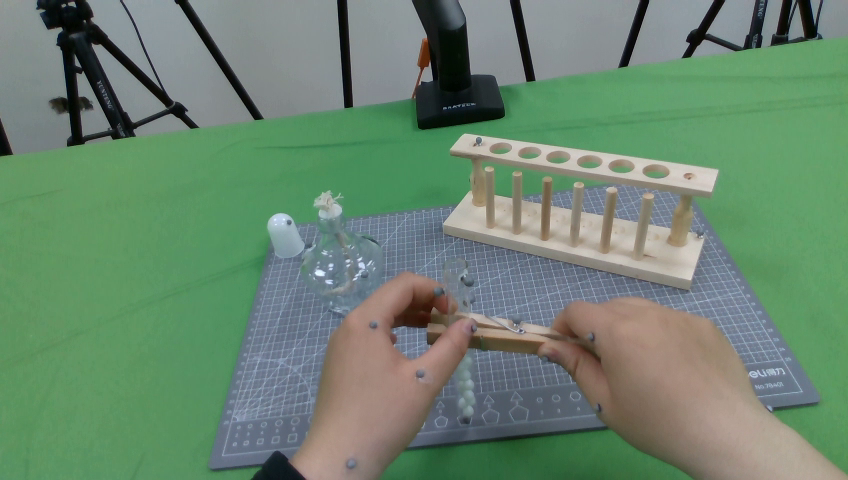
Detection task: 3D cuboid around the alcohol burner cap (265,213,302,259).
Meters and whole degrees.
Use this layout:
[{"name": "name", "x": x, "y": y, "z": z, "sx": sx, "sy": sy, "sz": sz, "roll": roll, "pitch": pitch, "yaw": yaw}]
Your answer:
[{"name": "alcohol burner cap", "x": -0.149, "y": -0.007, "z": 0.636, "sx": 0.034, "sy": 0.048, "sz": 0.033, "roll": -5, "pitch": 40, "yaw": 4}]

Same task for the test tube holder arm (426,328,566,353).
[{"name": "test tube holder arm", "x": 0.045, "y": 0.064, "z": 0.386, "sx": 0.088, "sy": 0.015, "sz": 0.010, "roll": 0, "pitch": 50, "yaw": 7}]

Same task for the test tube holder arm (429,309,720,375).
[{"name": "test tube holder arm", "x": 0.090, "y": 0.063, "z": 0.382, "sx": 0.178, "sy": 0.015, "sz": 0.013, "roll": 6, "pitch": 51, "yaw": 12}]

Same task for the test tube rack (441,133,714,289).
[{"name": "test tube rack", "x": 0.133, "y": -0.033, "z": 0.575, "sx": 0.241, "sy": 0.086, "sz": 0.066, "roll": 14, "pitch": 44, "yaw": 26}]

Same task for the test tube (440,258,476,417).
[{"name": "test tube", "x": 0.024, "y": 0.071, "z": 0.404, "sx": 0.017, "sy": 0.151, "sz": 0.017, "roll": -4, "pitch": 40, "yaw": 4}]

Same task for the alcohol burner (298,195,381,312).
[{"name": "alcohol burner", "x": -0.079, "y": 0.008, "z": 0.545, "sx": 0.078, "sy": 0.120, "sz": 0.077, "roll": -4, "pitch": 40, "yaw": 4}]
